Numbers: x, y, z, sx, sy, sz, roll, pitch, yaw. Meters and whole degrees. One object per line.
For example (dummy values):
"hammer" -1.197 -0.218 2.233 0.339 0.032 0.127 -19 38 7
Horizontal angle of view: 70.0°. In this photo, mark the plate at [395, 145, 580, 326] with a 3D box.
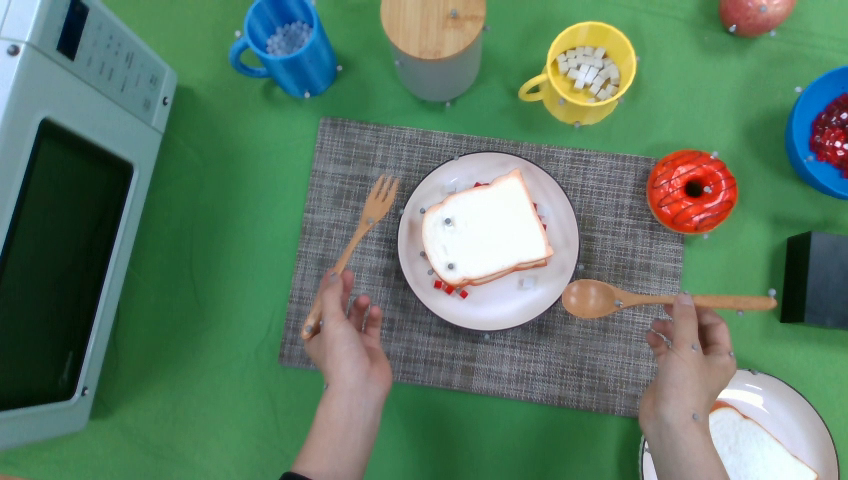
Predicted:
"plate" 0.072 -0.005 0.698 0.207 0.039 0.207 0 83 3

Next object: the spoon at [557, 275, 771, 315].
"spoon" 0.224 0.054 0.584 0.192 0.022 0.041 -2 71 34

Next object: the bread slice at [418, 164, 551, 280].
"bread slice" 0.062 -0.012 0.674 0.134 0.018 0.106 -22 79 -2

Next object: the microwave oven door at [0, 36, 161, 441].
"microwave oven door" -0.376 0.017 0.599 0.039 0.244 0.355 11 83 5

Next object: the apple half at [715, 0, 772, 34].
"apple half" 0.360 -0.270 0.703 0.033 0.081 0.081 -25 81 -5

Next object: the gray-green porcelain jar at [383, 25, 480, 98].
"gray-green porcelain jar" 0.010 -0.228 0.690 0.106 0.127 0.105 0 82 3

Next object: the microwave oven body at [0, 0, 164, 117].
"microwave oven body" -0.510 -0.052 0.620 0.326 0.261 0.440 11 84 4

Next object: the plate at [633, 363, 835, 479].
"plate" 0.330 0.237 0.657 0.209 0.038 0.208 0 82 3

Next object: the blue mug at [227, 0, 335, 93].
"blue mug" -0.170 -0.225 0.708 0.116 0.106 0.082 -17 81 1

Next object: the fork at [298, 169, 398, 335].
"fork" -0.078 0.008 0.633 0.028 0.019 0.206 23 62 8

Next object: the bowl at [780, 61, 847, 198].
"bowl" 0.464 -0.113 0.677 0.151 0.077 0.151 0 83 3

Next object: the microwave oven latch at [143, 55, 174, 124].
"microwave oven latch" -0.324 -0.181 0.725 0.030 0.029 0.079 13 84 4

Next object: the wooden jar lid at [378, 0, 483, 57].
"wooden jar lid" 0.007 -0.238 0.628 0.108 0.021 0.108 0 80 3

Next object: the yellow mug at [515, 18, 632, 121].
"yellow mug" 0.170 -0.193 0.708 0.131 0.064 0.099 -16 82 2

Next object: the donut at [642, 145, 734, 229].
"donut" 0.299 -0.060 0.691 0.099 0.048 0.099 0 83 3

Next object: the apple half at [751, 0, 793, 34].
"apple half" 0.394 -0.286 0.705 0.053 0.075 0.080 -24 78 -6

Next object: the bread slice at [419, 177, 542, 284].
"bread slice" 0.062 -0.006 0.702 0.131 0.019 0.104 -19 83 -2
